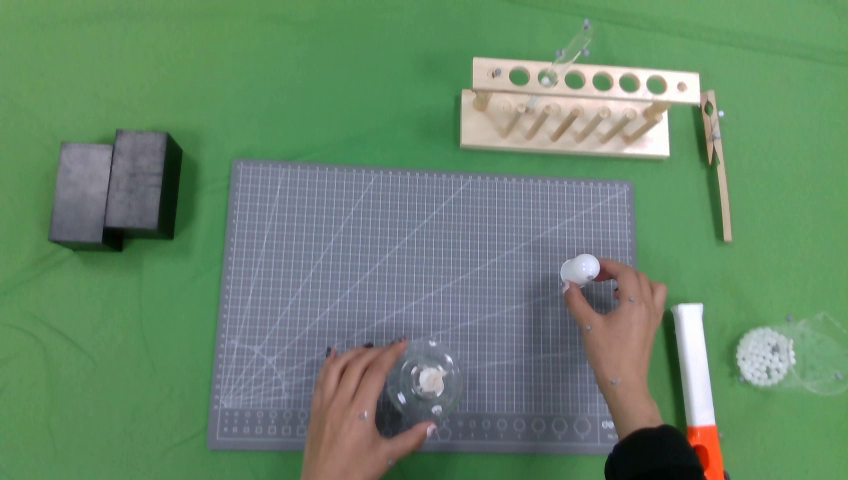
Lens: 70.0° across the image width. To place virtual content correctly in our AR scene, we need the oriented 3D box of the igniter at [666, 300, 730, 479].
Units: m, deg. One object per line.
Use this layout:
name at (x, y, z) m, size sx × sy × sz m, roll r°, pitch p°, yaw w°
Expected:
igniter at (0.291, 0.202, 0.643) m, size 0.057 × 0.025 × 0.275 m, roll 0°, pitch 79°, yaw -16°

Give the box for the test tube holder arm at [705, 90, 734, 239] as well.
test tube holder arm at (0.344, -0.089, 0.707) m, size 0.013 × 0.015 × 0.177 m, roll -11°, pitch 79°, yaw 28°

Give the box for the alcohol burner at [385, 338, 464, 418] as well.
alcohol burner at (0.002, 0.131, 0.580) m, size 0.078 × 0.119 × 0.077 m, roll 1°, pitch 76°, yaw -5°

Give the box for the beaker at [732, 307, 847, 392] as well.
beaker at (0.379, 0.114, 0.632) m, size 0.074 × 0.100 × 0.083 m, roll 16°, pitch 77°, yaw -2°

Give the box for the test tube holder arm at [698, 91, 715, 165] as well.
test tube holder arm at (0.335, -0.133, 0.717) m, size 0.010 × 0.015 × 0.087 m, roll -10°, pitch 79°, yaw 28°

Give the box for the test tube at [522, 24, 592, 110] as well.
test tube at (0.131, -0.171, 0.618) m, size 0.017 × 0.150 × 0.017 m, roll 3°, pitch 76°, yaw -11°

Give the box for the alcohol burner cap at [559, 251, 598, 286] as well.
alcohol burner cap at (0.163, 0.027, 0.626) m, size 0.034 × 0.048 × 0.033 m, roll 2°, pitch 74°, yaw -8°

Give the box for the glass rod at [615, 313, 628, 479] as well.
glass rod at (0.210, 0.177, 0.646) m, size 0.008 × 0.008 × 0.199 m, roll 2°, pitch 79°, yaw -6°

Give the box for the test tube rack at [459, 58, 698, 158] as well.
test tube rack at (0.164, -0.142, 0.666) m, size 0.243 × 0.085 × 0.066 m, roll 2°, pitch 79°, yaw -5°
